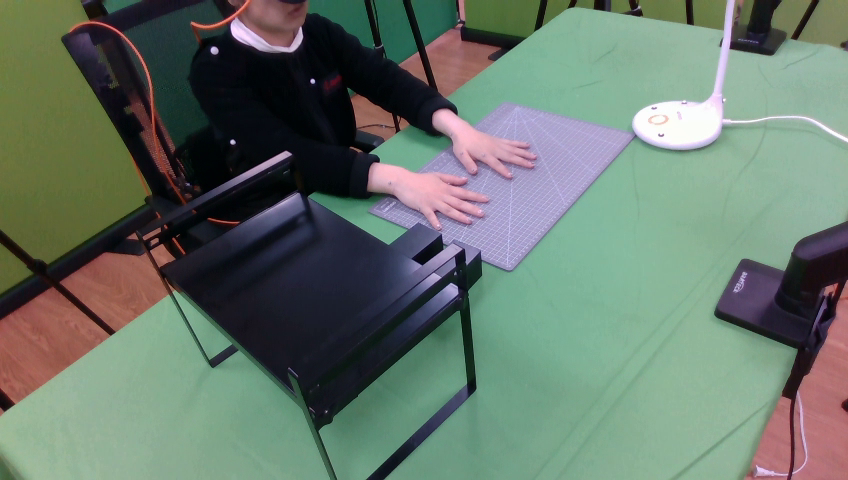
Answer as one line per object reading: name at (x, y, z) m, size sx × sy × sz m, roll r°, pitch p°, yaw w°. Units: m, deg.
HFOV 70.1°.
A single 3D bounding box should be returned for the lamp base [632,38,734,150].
lamp base at (0.486, -0.280, 1.108) m, size 0.179 × 0.181 × 0.159 m, roll -5°, pitch 41°, yaw -1°
